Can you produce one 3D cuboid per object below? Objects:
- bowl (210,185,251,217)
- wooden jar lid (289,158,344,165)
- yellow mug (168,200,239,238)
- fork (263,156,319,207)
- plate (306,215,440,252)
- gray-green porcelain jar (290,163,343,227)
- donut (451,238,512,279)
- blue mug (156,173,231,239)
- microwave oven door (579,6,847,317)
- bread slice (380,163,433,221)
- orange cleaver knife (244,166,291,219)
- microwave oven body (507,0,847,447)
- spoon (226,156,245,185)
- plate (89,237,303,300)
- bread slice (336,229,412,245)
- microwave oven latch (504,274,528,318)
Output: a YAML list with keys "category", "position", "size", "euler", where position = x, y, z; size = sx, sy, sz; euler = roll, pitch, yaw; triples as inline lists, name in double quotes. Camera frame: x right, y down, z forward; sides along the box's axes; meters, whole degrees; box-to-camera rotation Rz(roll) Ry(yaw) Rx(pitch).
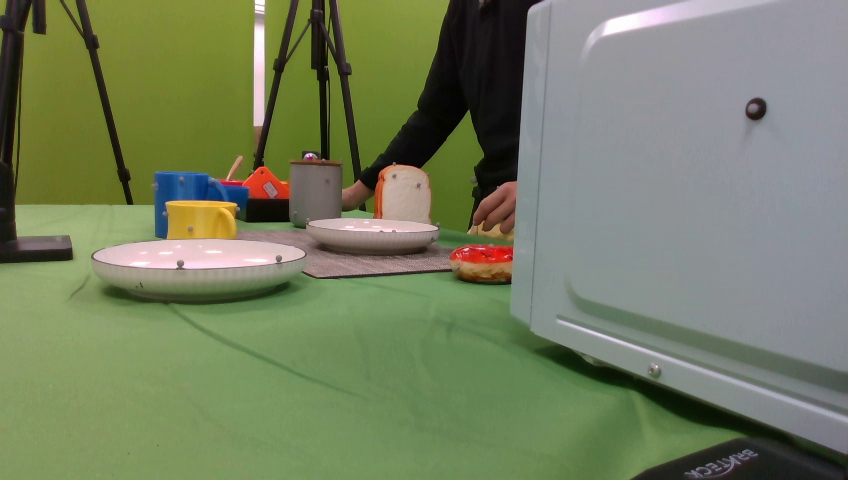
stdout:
- category: "bowl"
  position: [-0.408, -0.064, 1.155]
  size: [0.151, 0.077, 0.151]
  euler: [2, 8, 0]
- category: "wooden jar lid"
  position: [-0.215, -0.153, 1.212]
  size: [0.108, 0.020, 0.108]
  euler: [2, 5, 0]
- category: "yellow mug"
  position: [-0.320, -0.023, 0.904]
  size: [0.130, 0.064, 0.100]
  euler: [9, 11, 36]
- category: "fork"
  position: [-0.331, -0.144, 1.505]
  size: [0.207, 0.018, 0.028]
  euler: [-42, -21, 22]
- category: "plate"
  position: [-0.079, -0.011, 0.950]
  size: [0.209, 0.038, 0.209]
  euler: [2, 8, 0]
- category: "gray-green porcelain jar"
  position: [-0.217, -0.091, 1.221]
  size: [0.106, 0.126, 0.106]
  euler: [2, 7, 0]
- category: "donut"
  position: [0.083, 0.022, 0.745]
  size: [0.099, 0.048, 0.099]
  euler: [1, 5, 0]
- category: "blue mug"
  position: [-0.381, -0.057, 1.004]
  size: [0.117, 0.106, 0.082]
  euler: [0, 8, -12]
- category: "microwave oven door"
  position: [0.294, -0.067, 0.570]
  size: [0.358, 0.243, 0.039]
  euler: [-3, 9, -31]
- category: "bread slice"
  position: [-0.035, -0.076, 1.124]
  size: [0.107, 0.134, 0.018]
  euler: [-3, 1, -25]
- category: "orange cleaver knife"
  position: [-0.302, -0.089, 1.353]
  size: [0.212, 0.077, 0.012]
  euler: [33, -12, -34]
- category: "microwave oven body"
  position: [0.331, -0.042, 0.425]
  size: [0.444, 0.260, 0.324]
  euler: [-2, 8, -31]
- category: "spoon"
  position: [-0.477, -0.145, 1.492]
  size: [0.041, 0.022, 0.193]
  euler: [-1, 51, 13]
- category: "plate"
  position: [-0.233, 0.029, 0.637]
  size: [0.208, 0.039, 0.207]
  euler: [2, 7, 0]
- category: "bread slice"
  position: [-0.074, -0.006, 0.938]
  size: [0.105, 0.019, 0.131]
  euler: [-2, 5, -18]
- category: "microwave oven latch"
  position: [0.100, 0.041, 0.471]
  size: [0.079, 0.029, 0.030]
  euler: [-1, 8, -28]
